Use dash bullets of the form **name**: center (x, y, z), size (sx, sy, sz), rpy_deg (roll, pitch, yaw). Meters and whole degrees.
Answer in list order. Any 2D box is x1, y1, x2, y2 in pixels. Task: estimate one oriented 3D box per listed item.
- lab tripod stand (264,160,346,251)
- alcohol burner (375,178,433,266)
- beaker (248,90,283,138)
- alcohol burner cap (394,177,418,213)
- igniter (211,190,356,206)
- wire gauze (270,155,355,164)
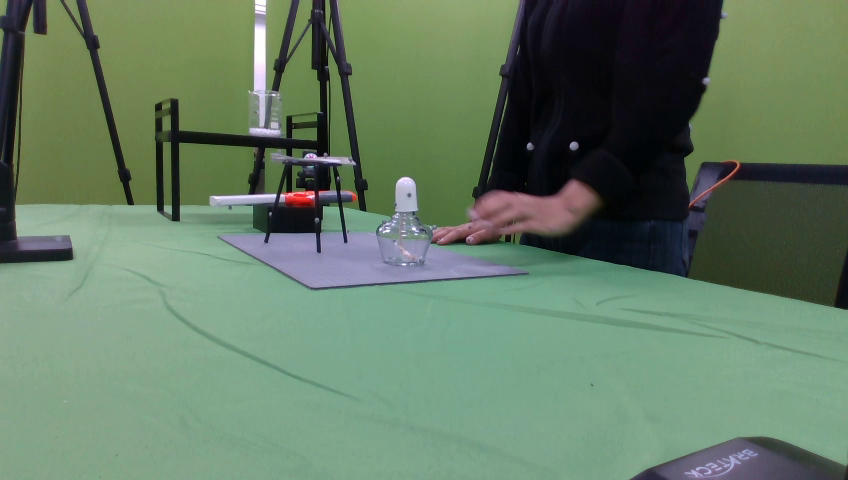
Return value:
- **lab tripod stand**: center (-0.178, -0.056, 0.930), size (0.148, 0.131, 0.148), rpy_deg (1, 9, 0)
- **alcohol burner**: center (-0.026, -0.025, 0.815), size (0.078, 0.119, 0.078), rpy_deg (5, 7, 0)
- **beaker**: center (-0.354, -0.278, 1.340), size (0.074, 0.100, 0.084), rpy_deg (6, 9, 26)
- **alcohol burner cap**: center (-0.025, -0.060, 0.809), size (0.034, 0.048, 0.034), rpy_deg (-4, 10, 1)
- **igniter**: center (-0.260, -0.080, 1.152), size (0.278, 0.025, 0.057), rpy_deg (-5, 13, -34)
- **wire gauze**: center (-0.174, -0.123, 0.925), size (0.125, 0.011, 0.121), rpy_deg (0, 8, -12)
